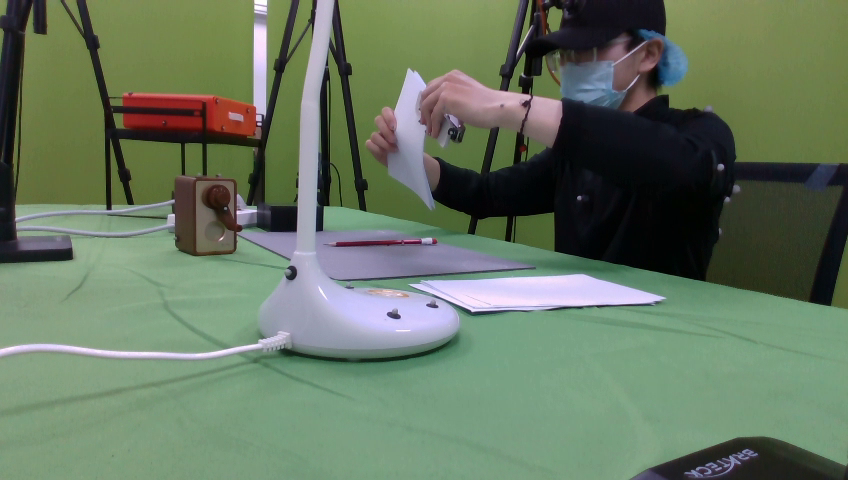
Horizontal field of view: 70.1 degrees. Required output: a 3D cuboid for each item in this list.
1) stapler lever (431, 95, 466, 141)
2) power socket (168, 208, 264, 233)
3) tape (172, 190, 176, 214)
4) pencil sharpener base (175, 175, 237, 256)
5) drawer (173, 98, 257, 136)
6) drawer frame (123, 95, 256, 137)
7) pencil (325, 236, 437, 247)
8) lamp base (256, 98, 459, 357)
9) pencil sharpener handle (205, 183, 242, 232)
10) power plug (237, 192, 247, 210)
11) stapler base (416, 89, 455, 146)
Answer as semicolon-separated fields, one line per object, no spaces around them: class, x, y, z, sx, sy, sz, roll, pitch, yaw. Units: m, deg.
stapler lever;0.035;-0.188;0.920;0.040;0.027;0.117;-9;38;-28
power socket;-0.381;-0.038;1.129;0.072;0.032;0.227;4;8;17
tape;-0.515;-0.087;1.388;0.117;0.052;0.117;3;7;0
pencil sharpener base;-0.304;-0.036;0.847;0.062;0.107;0.076;-4;10;-42
drawer;-0.518;-0.279;1.376;0.211;0.073;0.195;3;8;9
drawer frame;-0.524;-0.281;1.376;0.213;0.082;0.202;3;8;8
pencil;-0.066;0.003;0.980;0.195;0.012;0.012;-3;9;-25
lamp base;-0.055;-0.013;0.463;0.160;0.180;0.180;6;11;27
pencil sharpener handle;-0.265;-0.043;0.813;0.036;0.068;0.030;-32;28;-35
power plug;-0.386;-0.071;1.204;0.072;0.052;0.035;7;8;26
stapler base;0.020;-0.188;0.914;0.024;0.041;0.130;-2;36;-20
